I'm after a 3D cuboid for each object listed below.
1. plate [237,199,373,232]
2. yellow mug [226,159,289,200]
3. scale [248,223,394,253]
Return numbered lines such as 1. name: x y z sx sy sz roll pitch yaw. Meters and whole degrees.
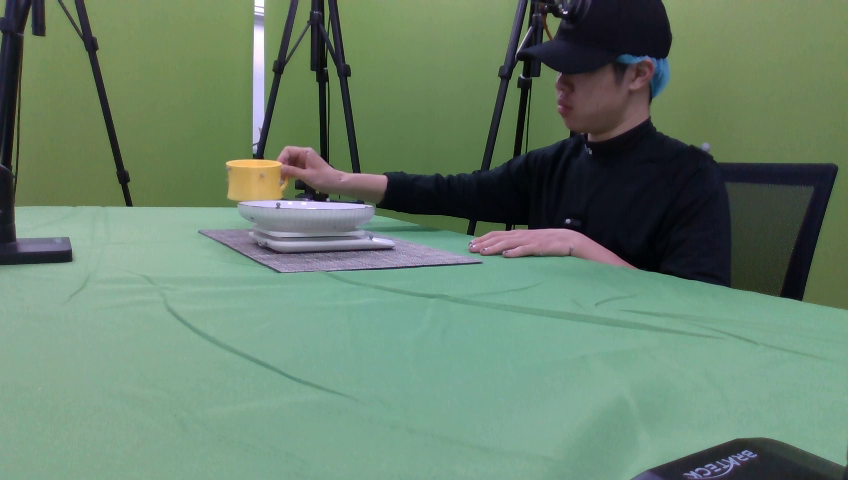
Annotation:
1. plate: -0.183 -0.039 0.941 0.209 0.038 0.209 3 7 0
2. yellow mug: -0.310 -0.117 1.151 0.099 0.064 0.131 14 18 36
3. scale: -0.162 -0.006 0.954 0.202 0.031 0.148 -2 9 -32
